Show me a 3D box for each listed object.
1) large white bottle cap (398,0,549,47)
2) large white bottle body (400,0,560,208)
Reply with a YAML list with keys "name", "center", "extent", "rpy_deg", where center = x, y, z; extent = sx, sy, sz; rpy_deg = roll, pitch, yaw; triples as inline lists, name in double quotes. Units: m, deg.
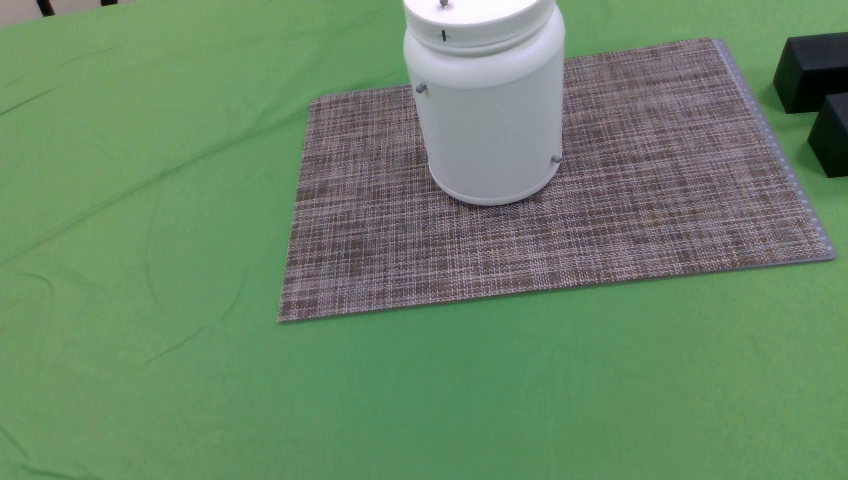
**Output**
- name: "large white bottle cap"
  center: [0.037, -0.186, 0.458]
  extent: [0.115, 0.018, 0.113]
  rpy_deg: [-5, 51, 7]
- name: "large white bottle body"
  center: [0.051, -0.133, 0.523]
  extent: [0.130, 0.186, 0.129]
  rpy_deg: [-6, 51, 7]
